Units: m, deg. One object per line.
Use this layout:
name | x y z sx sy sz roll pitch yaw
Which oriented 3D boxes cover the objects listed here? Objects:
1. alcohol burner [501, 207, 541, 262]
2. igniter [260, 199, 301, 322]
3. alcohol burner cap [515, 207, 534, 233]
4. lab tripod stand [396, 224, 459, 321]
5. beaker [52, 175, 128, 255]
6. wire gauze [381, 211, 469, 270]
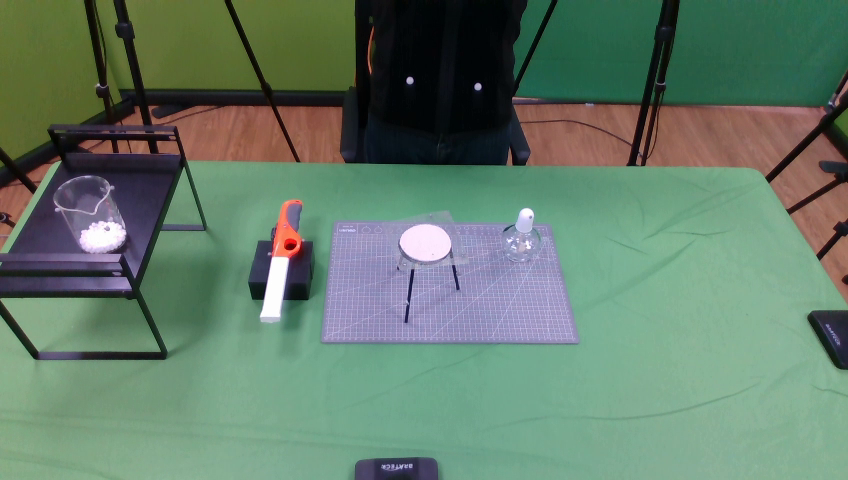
alcohol burner | 0.188 -0.015 1.160 0.078 0.120 0.077 1 44 -1
igniter | -0.255 0.027 1.084 0.057 0.025 0.274 3 49 -5
alcohol burner cap | 0.190 -0.041 1.135 0.034 0.048 0.033 3 50 -3
lab tripod stand | -0.003 0.052 1.067 0.148 0.132 0.147 3 48 -3
beaker | -0.482 -0.032 0.888 0.074 0.101 0.083 -28 55 -27
wire gauze | 0.000 0.001 1.023 0.125 0.011 0.120 -9 48 -13
